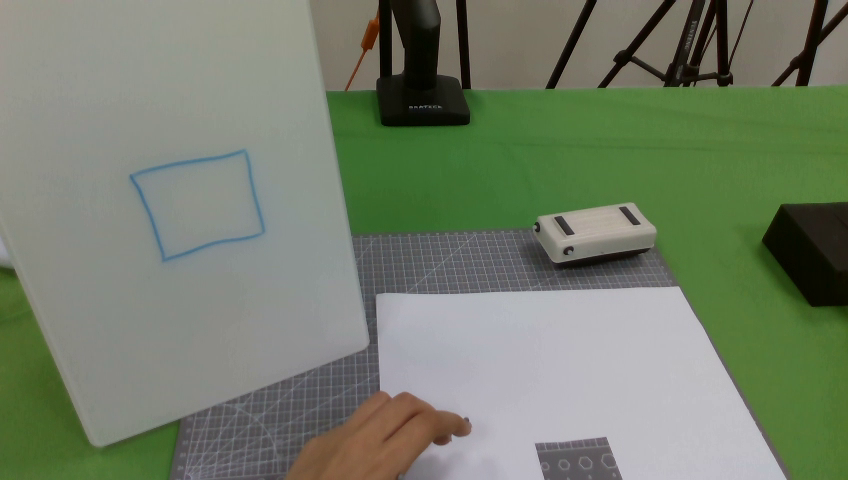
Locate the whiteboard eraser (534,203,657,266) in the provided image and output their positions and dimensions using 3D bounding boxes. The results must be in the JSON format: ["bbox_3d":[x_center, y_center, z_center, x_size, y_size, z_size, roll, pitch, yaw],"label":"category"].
[{"bbox_3d":[0.174,-0.004,0.617,0.113,0.042,0.055,-8,44,-14],"label":"whiteboard eraser"}]

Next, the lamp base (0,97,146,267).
[{"bbox_3d":[-0.374,-0.092,0.566,0.178,0.182,0.160,25,45,25],"label":"lamp base"}]

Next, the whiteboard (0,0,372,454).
[{"bbox_3d":[-0.185,-0.036,0.468,0.218,0.307,0.142,-17,26,-22],"label":"whiteboard"}]
